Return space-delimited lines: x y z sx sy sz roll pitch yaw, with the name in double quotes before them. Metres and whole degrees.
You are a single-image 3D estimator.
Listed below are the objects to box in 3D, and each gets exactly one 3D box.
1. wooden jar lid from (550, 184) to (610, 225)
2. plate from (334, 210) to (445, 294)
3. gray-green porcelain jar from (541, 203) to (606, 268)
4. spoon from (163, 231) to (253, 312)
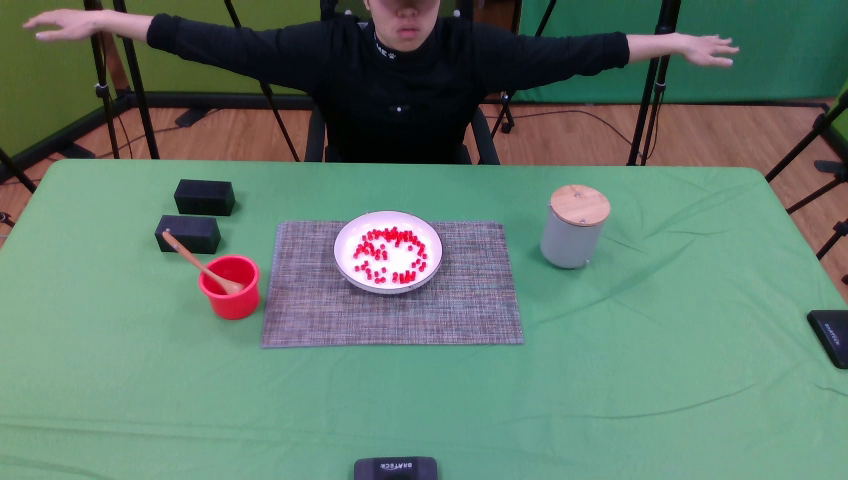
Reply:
"wooden jar lid" 0.286 -0.061 1.114 0.108 0.021 0.107 0 46 0
"plate" -0.066 0.026 1.150 0.208 0.039 0.206 2 46 -2
"gray-green porcelain jar" 0.283 -0.017 1.161 0.106 0.127 0.105 2 46 -2
"spoon" -0.364 0.054 1.025 0.194 0.021 0.041 43 49 -17
